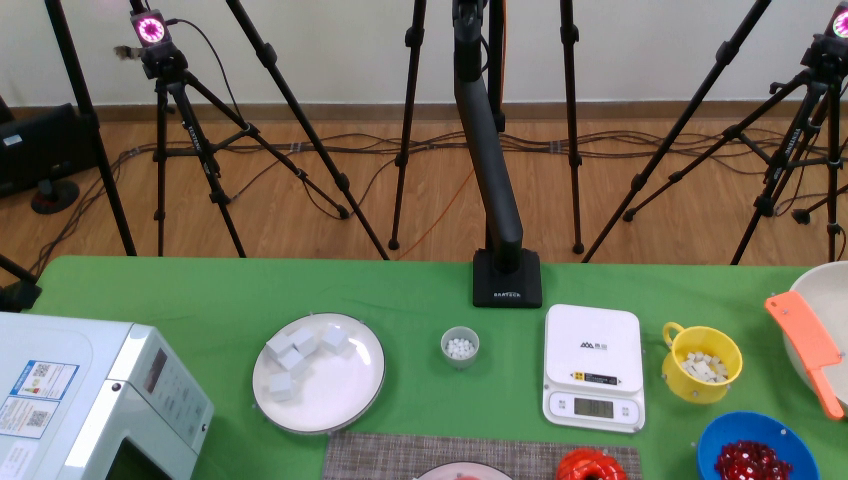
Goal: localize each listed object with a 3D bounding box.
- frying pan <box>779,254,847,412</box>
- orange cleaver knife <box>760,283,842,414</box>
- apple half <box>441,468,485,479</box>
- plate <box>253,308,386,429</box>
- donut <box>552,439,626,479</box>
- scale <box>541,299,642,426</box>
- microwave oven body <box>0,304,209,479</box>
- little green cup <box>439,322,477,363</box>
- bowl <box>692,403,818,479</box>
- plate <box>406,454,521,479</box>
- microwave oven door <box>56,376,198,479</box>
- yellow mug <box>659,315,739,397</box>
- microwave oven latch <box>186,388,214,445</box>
[{"bbox_3d":[0.725,0.217,0.847,0.307,0.104,0.482,-20,45,-11],"label":"frying pan"},{"bbox_3d":[0.565,0.151,0.885,0.077,0.012,0.209,-4,51,-4],"label":"orange cleaver knife"},{"bbox_3d":[0.051,0.343,0.805,0.075,0.054,0.080,-10,55,0],"label":"apple half"},{"bbox_3d":[-0.163,0.203,0.959,0.207,0.039,0.205,-2,51,2],"label":"plate"},{"bbox_3d":[0.224,0.322,0.829,0.099,0.049,0.098,-4,52,5],"label":"donut"},{"bbox_3d":[0.261,0.185,0.949,0.148,0.032,0.199,5,52,8],"label":"scale"},{"bbox_3d":[-0.512,0.328,0.732,0.326,0.262,0.437,4,52,6],"label":"microwave oven body"},{"bbox_3d":[0.055,0.166,0.974,0.061,0.039,0.061,-2,51,3],"label":"little green cup"},{"bbox_3d":[0.429,0.305,0.812,0.151,0.077,0.150,-2,52,3],"label":"bowl"},{"bbox_3d":[0.052,0.388,0.791,0.209,0.038,0.207,-1,51,2],"label":"plate"},{"bbox_3d":[-0.373,0.366,0.685,0.039,0.246,0.352,3,51,7],"label":"microwave oven door"},{"bbox_3d":[0.409,0.169,0.930,0.100,0.064,0.129,-25,53,-15],"label":"yellow mug"},{"bbox_3d":[-0.338,0.261,0.899,0.030,0.030,0.078,6,53,8],"label":"microwave oven latch"}]
